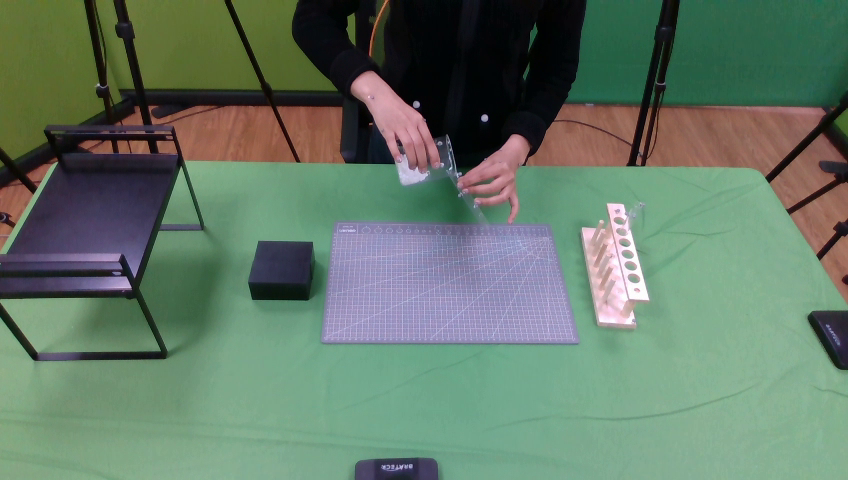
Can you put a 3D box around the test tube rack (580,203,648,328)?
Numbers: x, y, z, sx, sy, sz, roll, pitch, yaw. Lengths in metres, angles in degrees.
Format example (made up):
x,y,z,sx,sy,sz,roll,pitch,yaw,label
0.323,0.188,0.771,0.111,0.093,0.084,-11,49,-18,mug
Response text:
x,y,z,sx,sy,sz,roll,pitch,yaw,label
0.352,0.041,1.142,0.067,0.085,0.241,4,46,0,test tube rack

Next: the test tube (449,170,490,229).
x,y,z,sx,sy,sz,roll,pitch,yaw,label
0.086,-0.073,1.122,0.017,0.151,0.017,-22,39,19,test tube

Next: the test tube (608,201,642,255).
x,y,z,sx,sy,sz,roll,pitch,yaw,label
0.373,-0.019,1.133,0.017,0.151,0.017,3,52,-4,test tube

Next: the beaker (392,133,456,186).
x,y,z,sx,sy,sz,roll,pitch,yaw,label
0.000,-0.136,1.051,0.100,0.084,0.073,-13,47,-1,beaker
